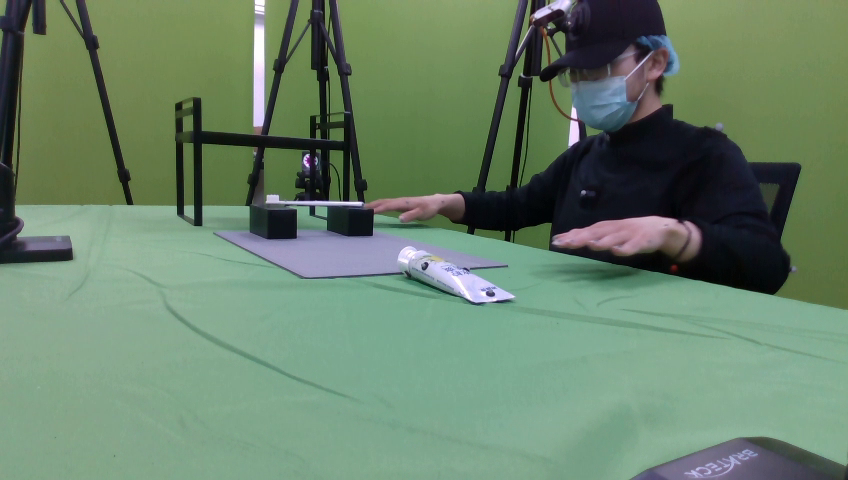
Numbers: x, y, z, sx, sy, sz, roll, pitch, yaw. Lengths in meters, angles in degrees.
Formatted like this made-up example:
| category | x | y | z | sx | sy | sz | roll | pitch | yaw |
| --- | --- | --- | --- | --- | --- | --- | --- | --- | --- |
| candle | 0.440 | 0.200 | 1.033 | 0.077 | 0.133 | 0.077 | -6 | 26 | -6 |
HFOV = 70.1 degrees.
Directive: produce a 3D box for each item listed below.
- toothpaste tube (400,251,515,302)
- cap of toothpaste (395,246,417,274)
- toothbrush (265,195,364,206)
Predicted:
| category | x | y | z | sx | sy | sz | roll | pitch | yaw |
| --- | --- | --- | --- | --- | --- | --- | --- | --- | --- |
| toothpaste tube | 0.026 | 0.041 | 0.673 | 0.055 | 0.034 | 0.164 | -10 | 17 | -34 |
| cap of toothpaste | -0.018 | 0.025 | 0.738 | 0.037 | 0.037 | 0.011 | -4 | 11 | -41 |
| toothbrush | -0.194 | -0.069 | 1.089 | 0.183 | 0.016 | 0.014 | 0 | -6 | -27 |
